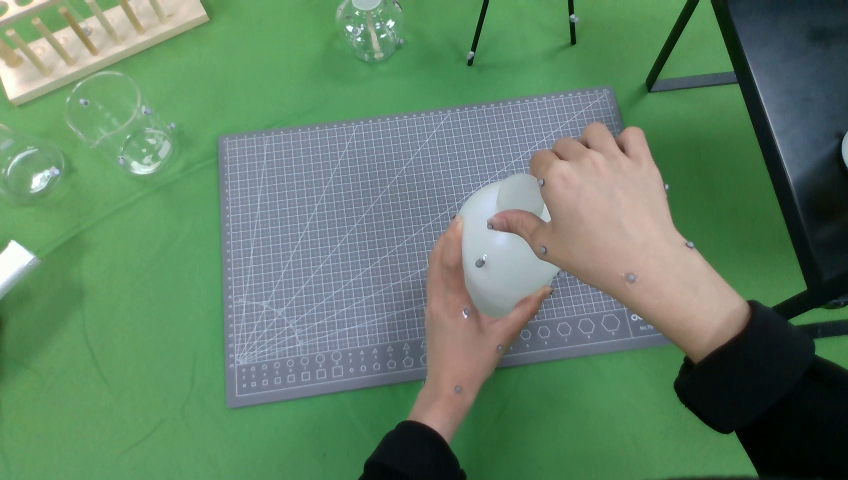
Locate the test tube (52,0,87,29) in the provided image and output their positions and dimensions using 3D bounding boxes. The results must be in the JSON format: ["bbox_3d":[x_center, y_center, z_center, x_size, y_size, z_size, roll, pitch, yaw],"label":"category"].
[{"bbox_3d":[-0.408,-0.279,0.643,0.017,0.151,0.017,-2,67,5],"label":"test tube"}]

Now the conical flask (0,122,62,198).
[{"bbox_3d":[-0.436,-0.098,0.613,0.075,0.122,0.075,0,70,1],"label":"conical flask"}]

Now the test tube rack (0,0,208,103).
[{"bbox_3d":[-0.384,-0.254,0.686,0.242,0.086,0.066,-28,72,-9],"label":"test tube rack"}]

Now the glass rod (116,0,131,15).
[{"bbox_3d":[-0.367,-0.313,0.637,0.008,0.201,0.008,-3,65,7],"label":"glass rod"}]

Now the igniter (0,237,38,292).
[{"bbox_3d":[-0.467,0.108,0.542,0.057,0.025,0.276,35,71,10],"label":"igniter"}]

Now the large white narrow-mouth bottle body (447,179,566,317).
[{"bbox_3d":[0.071,0.003,0.534,0.102,0.196,0.101,0,72,2],"label":"large white narrow-mouth bottle body"}]

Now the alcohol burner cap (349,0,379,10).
[{"bbox_3d":[-0.066,-0.271,0.636,0.034,0.048,0.033,0,69,0],"label":"alcohol burner cap"}]

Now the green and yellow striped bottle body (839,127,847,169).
[{"bbox_3d":[0.350,-0.086,0.412,0.063,0.120,0.063,0,70,1],"label":"green and yellow striped bottle body"}]

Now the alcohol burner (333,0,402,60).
[{"bbox_3d":[-0.064,-0.257,0.670,0.078,0.120,0.077,0,69,0],"label":"alcohol burner"}]

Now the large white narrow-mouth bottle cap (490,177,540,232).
[{"bbox_3d":[0.067,-0.026,0.444,0.038,0.024,0.037,0,72,1],"label":"large white narrow-mouth bottle cap"}]

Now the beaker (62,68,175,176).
[{"bbox_3d":[-0.312,-0.115,0.630,0.074,0.101,0.083,7,71,4],"label":"beaker"}]

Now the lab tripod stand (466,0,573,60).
[{"bbox_3d":[0.105,-0.278,0.665,0.148,0.132,0.147,0,69,0],"label":"lab tripod stand"}]
